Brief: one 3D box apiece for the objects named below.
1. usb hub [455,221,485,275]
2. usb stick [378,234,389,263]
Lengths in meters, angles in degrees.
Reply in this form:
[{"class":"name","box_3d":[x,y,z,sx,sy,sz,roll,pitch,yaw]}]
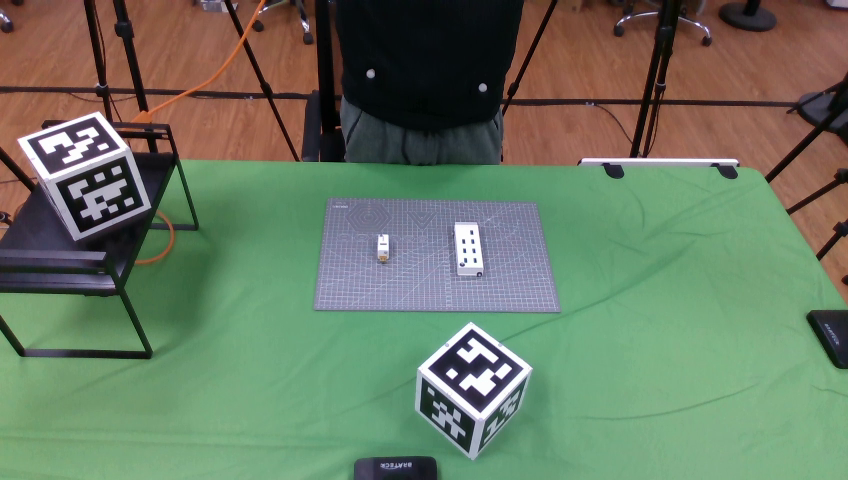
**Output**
[{"class":"usb hub","box_3d":[0.088,0.014,1.177,0.049,0.025,0.124,0,46,-3]},{"class":"usb stick","box_3d":[-0.078,0.017,1.162,0.021,0.027,0.059,3,47,-4]}]
